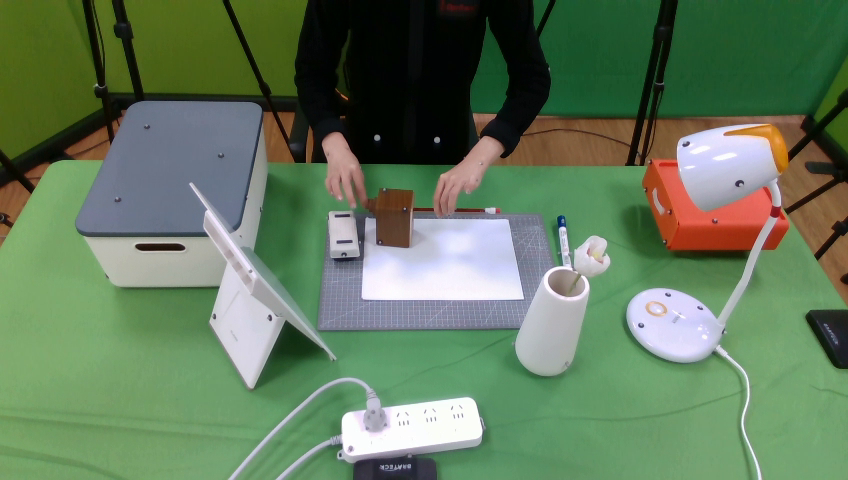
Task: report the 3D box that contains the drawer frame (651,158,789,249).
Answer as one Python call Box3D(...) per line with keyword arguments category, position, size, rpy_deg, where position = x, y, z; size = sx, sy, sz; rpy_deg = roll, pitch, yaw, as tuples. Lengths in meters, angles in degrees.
Box3D(category="drawer frame", position=(0.571, -0.075, 1.214), size=(0.214, 0.083, 0.200), rpy_deg=(0, 46, -1))

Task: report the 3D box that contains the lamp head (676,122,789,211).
Box3D(category="lamp head", position=(0.423, -0.104, 0.819), size=(0.122, 0.113, 0.112), rpy_deg=(-13, 33, 40))

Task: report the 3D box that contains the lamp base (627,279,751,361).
Box3D(category="lamp base", position=(0.459, 0.100, 1.027), size=(0.178, 0.181, 0.160), rpy_deg=(27, 51, 17))

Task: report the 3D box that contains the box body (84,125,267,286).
Box3D(category="box body", position=(-0.446, -0.088, 1.150), size=(0.254, 0.161, 0.361), rpy_deg=(-1, 46, -5))

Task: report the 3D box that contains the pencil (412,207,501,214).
Box3D(category="pencil", position=(0.048, -0.057, 1.151), size=(0.194, 0.012, 0.012), rpy_deg=(1, 46, 2))

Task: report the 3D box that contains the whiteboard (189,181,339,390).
Box3D(category="whiteboard", position=(-0.292, 0.096, 0.929), size=(0.144, 0.307, 0.216), rpy_deg=(-37, 57, -10))

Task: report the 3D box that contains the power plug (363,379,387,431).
Box3D(category="power plug", position=(-0.072, 0.252, 0.910), size=(0.035, 0.053, 0.072), rpy_deg=(3, 45, -1))

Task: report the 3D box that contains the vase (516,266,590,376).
Box3D(category="vase", position=(0.208, 0.132, 0.964), size=(0.098, 0.201, 0.097), rpy_deg=(3, 46, -3))

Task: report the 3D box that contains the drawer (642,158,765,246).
Box3D(category="drawer", position=(0.565, -0.076, 1.211), size=(0.212, 0.073, 0.193), rpy_deg=(2, 45, -2))

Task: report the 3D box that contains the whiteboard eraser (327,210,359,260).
Box3D(category="whiteboard eraser", position=(-0.159, -0.009, 1.177), size=(0.055, 0.042, 0.112), rpy_deg=(-5, 47, -7))

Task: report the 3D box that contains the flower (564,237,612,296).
Box3D(category="flower", position=(0.206, 0.088, 0.893), size=(0.038, 0.363, 0.044), rpy_deg=(-16, 67, -9))

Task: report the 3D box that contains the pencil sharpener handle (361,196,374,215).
Box3D(category="pencil sharpener handle", position=(-0.110, -0.071, 1.166), size=(0.030, 0.036, 0.067), rpy_deg=(5, 15, 1))

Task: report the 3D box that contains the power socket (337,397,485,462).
Box3D(category="power socket", position=(-0.018, 0.285, 0.915), size=(0.227, 0.033, 0.071), rpy_deg=(-5, 46, -8))

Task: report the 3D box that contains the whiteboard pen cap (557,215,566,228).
Box3D(category="whiteboard pen cap", position=(0.284, -0.035, 1.246), size=(0.018, 0.018, 0.033), rpy_deg=(4, 52, -1))

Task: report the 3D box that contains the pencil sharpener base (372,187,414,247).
Box3D(category="pencil sharpener base", position=(-0.061, -0.043, 1.171), size=(0.077, 0.107, 0.061), rpy_deg=(5, 46, 1))

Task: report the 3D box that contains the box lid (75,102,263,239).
Box3D(category="box lid", position=(-0.443, -0.138, 1.094), size=(0.263, 0.015, 0.369), rpy_deg=(-1, 47, -5))

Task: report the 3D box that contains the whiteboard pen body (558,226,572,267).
Box3D(category="whiteboard pen body", position=(0.280, 0.010, 1.208), size=(0.017, 0.017, 0.140), rpy_deg=(3, 50, -1))
